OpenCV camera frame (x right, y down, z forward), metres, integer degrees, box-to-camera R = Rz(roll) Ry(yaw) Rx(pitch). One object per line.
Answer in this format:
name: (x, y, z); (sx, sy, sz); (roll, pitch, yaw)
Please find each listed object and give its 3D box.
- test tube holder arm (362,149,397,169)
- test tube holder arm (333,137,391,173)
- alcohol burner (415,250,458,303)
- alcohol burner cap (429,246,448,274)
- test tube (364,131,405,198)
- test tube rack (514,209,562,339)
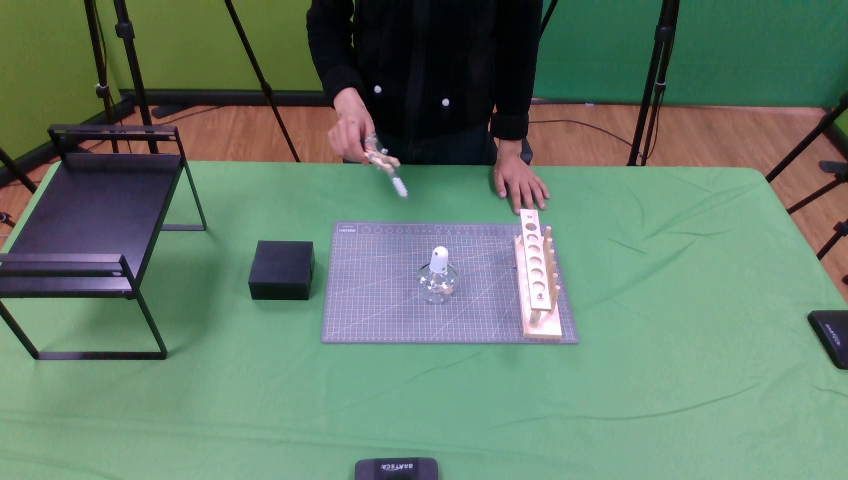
test tube holder arm: (-0.080, -0.142, 1.052); (0.087, 0.015, 0.010); (23, 58, 39)
test tube holder arm: (-0.114, -0.154, 1.080); (0.013, 0.015, 0.177); (-40, 44, -20)
alcohol burner: (0.024, 0.057, 1.078); (0.078, 0.119, 0.077); (3, 44, -2)
alcohol burner cap: (0.027, 0.032, 1.053); (0.034, 0.048, 0.033); (4, 40, -3)
test tube: (-0.065, -0.127, 1.041); (0.017, 0.151, 0.017); (-14, 46, 15)
test tube rack: (0.212, 0.056, 1.113); (0.067, 0.085, 0.241); (3, 46, -1)
